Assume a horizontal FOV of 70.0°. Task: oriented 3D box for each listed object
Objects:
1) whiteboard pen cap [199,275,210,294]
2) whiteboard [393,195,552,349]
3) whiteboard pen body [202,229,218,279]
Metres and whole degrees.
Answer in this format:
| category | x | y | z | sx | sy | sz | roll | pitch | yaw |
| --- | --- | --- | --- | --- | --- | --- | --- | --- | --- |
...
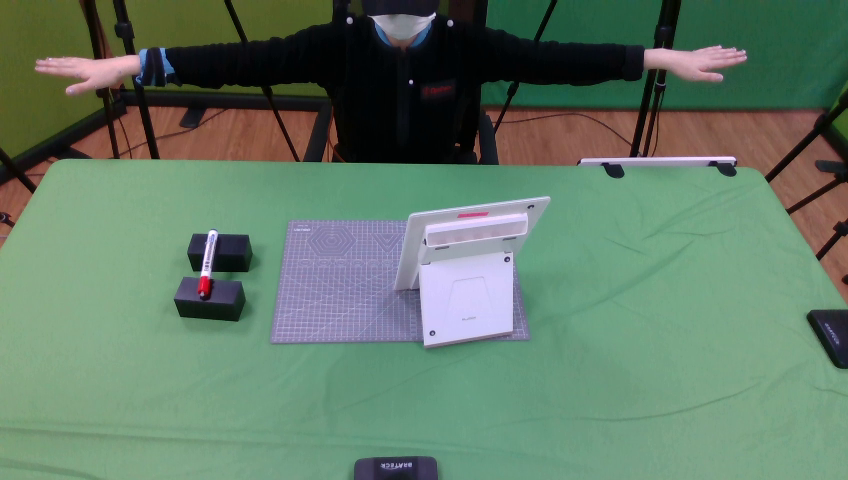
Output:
| category | x | y | z | sx | sy | sz | roll | pitch | yaw |
| --- | --- | --- | --- | --- | --- | --- | --- | --- | --- |
| whiteboard pen cap | -0.372 | 0.075 | 1.030 | 0.017 | 0.017 | 0.032 | -4 | 48 | -8 |
| whiteboard | 0.077 | 0.071 | 0.977 | 0.217 | 0.306 | 0.143 | -7 | 66 | -11 |
| whiteboard pen body | -0.378 | 0.033 | 1.068 | 0.017 | 0.017 | 0.139 | -2 | 47 | -7 |
